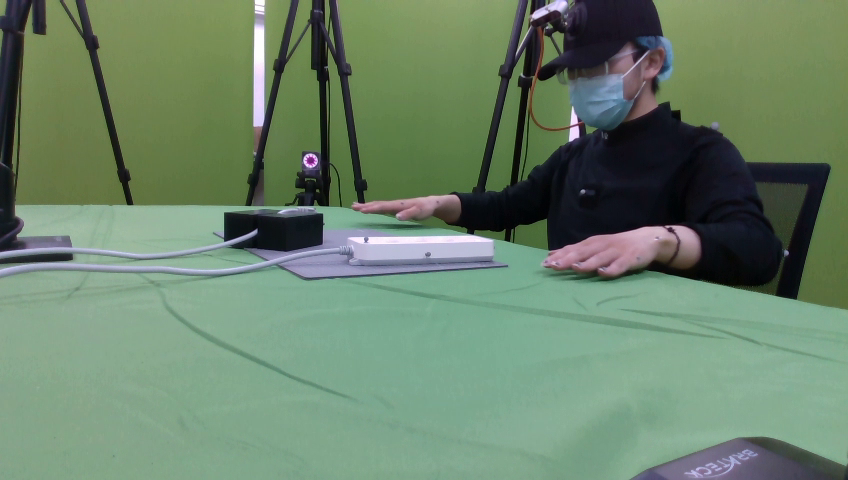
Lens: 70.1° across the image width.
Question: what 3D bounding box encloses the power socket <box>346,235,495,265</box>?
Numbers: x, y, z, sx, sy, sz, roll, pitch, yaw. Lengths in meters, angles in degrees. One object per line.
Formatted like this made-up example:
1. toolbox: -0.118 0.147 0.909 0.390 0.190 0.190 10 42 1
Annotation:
1. power socket: -0.003 0.012 0.852 0.228 0.032 0.072 -2 7 -26

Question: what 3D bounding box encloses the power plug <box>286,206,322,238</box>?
1. power plug: -0.203 -0.029 1.001 0.073 0.052 0.035 -1 4 -41
